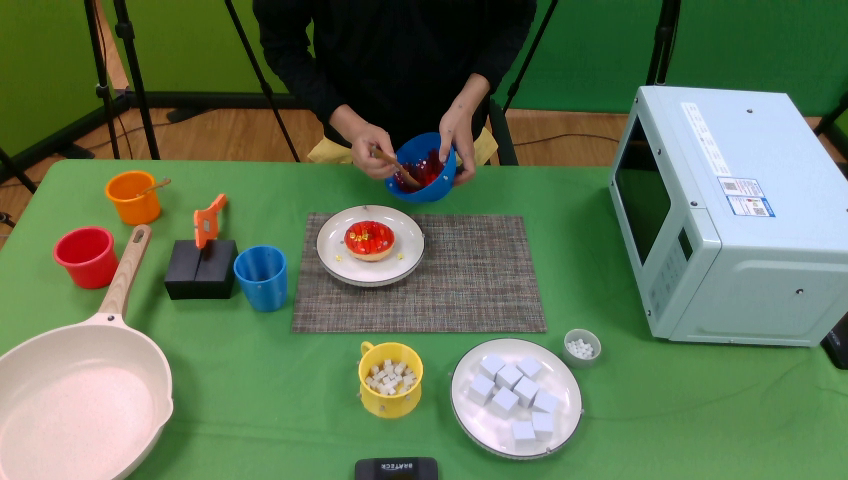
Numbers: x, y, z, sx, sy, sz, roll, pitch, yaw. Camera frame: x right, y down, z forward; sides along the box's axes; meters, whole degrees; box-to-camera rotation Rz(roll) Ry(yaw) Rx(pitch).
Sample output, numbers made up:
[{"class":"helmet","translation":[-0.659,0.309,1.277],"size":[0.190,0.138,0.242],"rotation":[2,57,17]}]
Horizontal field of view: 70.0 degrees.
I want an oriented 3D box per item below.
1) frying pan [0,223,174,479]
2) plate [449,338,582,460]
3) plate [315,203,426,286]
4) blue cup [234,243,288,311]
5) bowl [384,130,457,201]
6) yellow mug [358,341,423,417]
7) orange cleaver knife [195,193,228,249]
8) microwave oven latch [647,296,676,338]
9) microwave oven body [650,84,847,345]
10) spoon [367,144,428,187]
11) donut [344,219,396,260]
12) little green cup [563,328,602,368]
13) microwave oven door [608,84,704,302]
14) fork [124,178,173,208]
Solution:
[{"class":"frying pan","translation":[-0.505,0.169,0.941],"size":[0.307,0.103,0.485],"rotation":[5,54,-1]},{"class":"plate","translation":[0.141,0.251,0.955],"size":[0.208,0.039,0.206],"rotation":[2,47,-2]},{"class":"plate","translation":[-0.101,0.012,1.159],"size":[0.209,0.038,0.208],"rotation":[2,46,-2]},{"class":"blue cup","translation":[-0.276,0.072,1.052],"size":[0.093,0.101,0.092],"rotation":[1,48,-1]},{"class":"bowl","translation":[0.007,-0.128,1.164],"size":[0.151,0.077,0.150],"rotation":[-19,49,24]},{"class":"yellow mug","translation":[-0.062,0.210,0.961],"size":[0.100,0.064,0.130],"rotation":[-29,54,-27]},{"class":"orange cleaver knife","translation":[-0.406,-0.041,1.163],"size":[0.012,0.077,0.210],"rotation":[0,18,-3]},{"class":"microwave oven latch","translation":[0.413,0.133,1.060],"size":[0.030,0.029,0.078],"rotation":[4,46,1]},{"class":"microwave oven body","translation":[0.569,-0.054,1.116],"size":[0.326,0.261,0.439],"rotation":[2,46,-1]},{"class":"spoon","translation":[-0.049,-0.136,1.105],"size":[0.041,0.195,0.021],"rotation":[23,83,34]},{"class":"donut","translation":[-0.103,-0.002,1.157],"size":[0.099,0.048,0.098],"rotation":[3,43,-2]},{"class":"little green cup","translation":[0.265,0.184,1.025],"size":[0.061,0.039,0.061],"rotation":[1,46,-1]},{"class":"microwave oven door","translation":[0.424,-0.096,1.138],"size":[0.039,0.245,0.353],"rotation":[3,46,-1]},{"class":"fork","translation":[-0.525,-0.089,1.154],"size":[0.207,0.019,0.028],"rotation":[-18,27,45]}]
